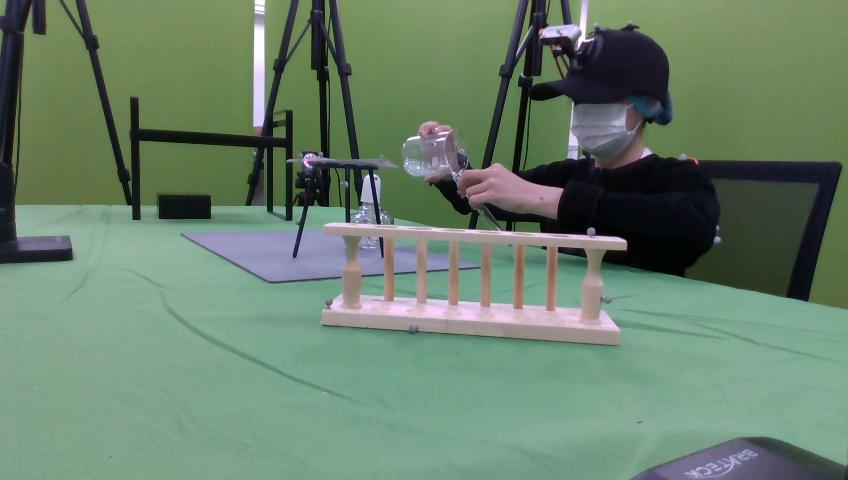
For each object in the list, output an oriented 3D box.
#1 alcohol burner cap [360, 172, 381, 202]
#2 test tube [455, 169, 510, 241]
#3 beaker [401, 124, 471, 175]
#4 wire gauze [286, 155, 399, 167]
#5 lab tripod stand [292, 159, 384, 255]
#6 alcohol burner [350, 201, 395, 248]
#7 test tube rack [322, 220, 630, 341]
[{"bbox_3d":[-0.081,-0.084,0.949,0.034,0.048,0.034,7,7,-1],"label":"alcohol burner cap"},{"bbox_3d":[0.095,-0.057,0.971,0.017,0.017,0.149,-7,54,-48],"label":"test tube"},{"bbox_3d":[0.018,-0.148,1.027,0.100,0.084,0.074,-2,1,38],"label":"beaker"},{"bbox_3d":[-0.101,-0.105,0.788,0.121,0.011,0.125,4,6,6],"label":"wire gauze"},{"bbox_3d":[-0.105,-0.039,0.797,0.148,0.131,0.148,2,5,0],"label":"lab tripod stand"},{"bbox_3d":[-0.084,-0.048,0.953,0.078,0.119,0.078,1,6,0],"label":"alcohol burner"},{"bbox_3d":[0.041,0.029,0.512,0.242,0.085,0.067,3,7,5],"label":"test tube rack"}]
